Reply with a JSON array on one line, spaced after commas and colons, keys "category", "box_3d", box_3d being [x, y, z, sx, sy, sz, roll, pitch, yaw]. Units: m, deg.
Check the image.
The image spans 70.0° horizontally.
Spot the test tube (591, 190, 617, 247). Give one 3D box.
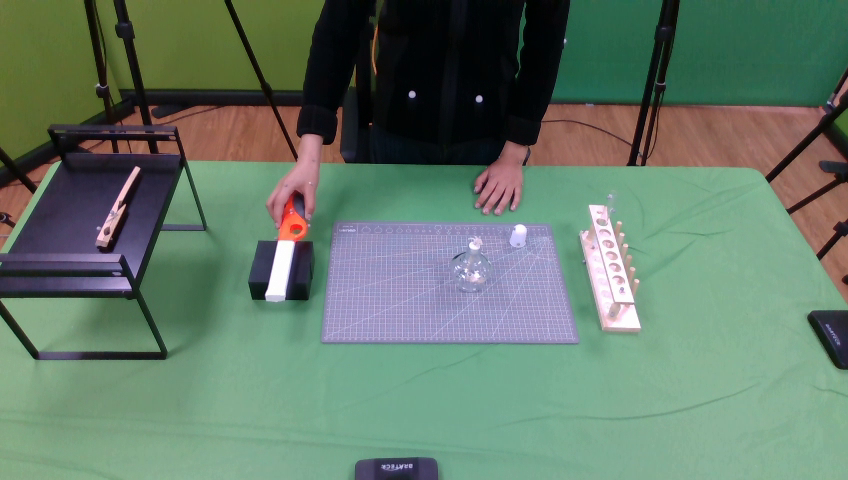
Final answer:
[{"category": "test tube", "box_3d": [0.340, -0.038, 1.149, 0.017, 0.151, 0.017, 1, 50, -1]}]

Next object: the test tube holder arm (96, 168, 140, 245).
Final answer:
[{"category": "test tube holder arm", "box_3d": [-0.486, -0.058, 0.968, 0.013, 0.015, 0.177, 27, 37, -27]}]

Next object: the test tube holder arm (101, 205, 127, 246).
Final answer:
[{"category": "test tube holder arm", "box_3d": [-0.480, -0.024, 0.938, 0.010, 0.015, 0.087, 28, 37, -26]}]

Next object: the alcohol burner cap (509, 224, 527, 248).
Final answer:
[{"category": "alcohol burner cap", "box_3d": [0.189, -0.011, 1.206, 0.034, 0.048, 0.033, 1, 46, -1]}]

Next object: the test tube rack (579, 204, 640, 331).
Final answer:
[{"category": "test tube rack", "box_3d": [0.353, 0.047, 1.137, 0.067, 0.085, 0.241, 2, 46, -2]}]

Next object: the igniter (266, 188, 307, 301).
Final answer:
[{"category": "igniter", "box_3d": [-0.249, -0.002, 1.104, 0.057, 0.025, 0.275, 3, 45, -3]}]

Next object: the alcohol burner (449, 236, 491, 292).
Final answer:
[{"category": "alcohol burner", "box_3d": [0.086, 0.038, 1.101, 0.078, 0.119, 0.077, 3, 45, -3]}]
